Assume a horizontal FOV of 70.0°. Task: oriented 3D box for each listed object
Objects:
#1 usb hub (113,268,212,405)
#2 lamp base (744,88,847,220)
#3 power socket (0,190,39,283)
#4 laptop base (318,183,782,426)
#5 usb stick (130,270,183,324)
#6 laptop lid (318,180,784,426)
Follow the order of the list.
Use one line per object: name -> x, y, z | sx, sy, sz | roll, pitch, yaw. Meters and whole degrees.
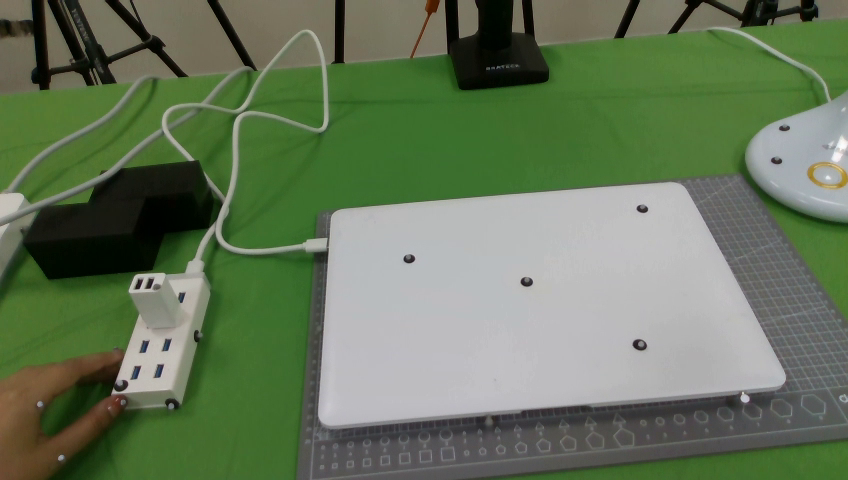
usb hub -> -0.218, 0.078, 0.513 | 0.049, 0.025, 0.124 | -5, 44, 0
lamp base -> 0.420, -0.140, 0.583 | 0.160, 0.182, 0.178 | 18, 46, 20
power socket -> -0.438, 0.031, 0.569 | 0.072, 0.033, 0.224 | -4, 44, -2
laptop base -> 0.090, 0.044, 0.533 | 0.354, 0.023, 0.233 | -4, 48, -1
usb stick -> -0.216, 0.052, 0.498 | 0.027, 0.060, 0.021 | -6, 44, 0
laptop lid -> 0.089, 0.038, 0.523 | 0.357, 0.013, 0.239 | -3, 47, 0
